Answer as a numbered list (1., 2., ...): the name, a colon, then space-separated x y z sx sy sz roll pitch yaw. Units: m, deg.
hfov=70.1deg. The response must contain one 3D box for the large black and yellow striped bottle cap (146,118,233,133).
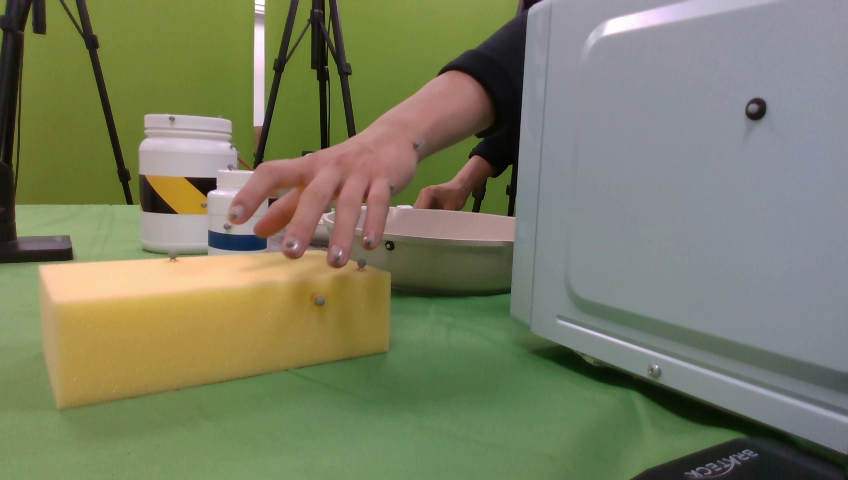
1. large black and yellow striped bottle cap: -0.333 -0.163 0.861 0.115 0.019 0.115 1 9 0

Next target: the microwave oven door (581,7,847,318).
1. microwave oven door: 0.295 -0.067 0.569 0.358 0.243 0.039 -3 8 -31

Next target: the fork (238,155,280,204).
1. fork: -0.396 -0.143 1.486 0.028 0.018 0.208 20 -26 45

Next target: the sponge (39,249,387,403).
1. sponge: -0.142 0.047 0.419 0.208 0.061 0.117 -2 8 -37

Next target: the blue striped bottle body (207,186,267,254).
1. blue striped bottle body: -0.204 -0.016 0.663 0.063 0.120 0.063 2 7 0

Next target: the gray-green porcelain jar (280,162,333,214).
1. gray-green porcelain jar: -0.238 -0.092 1.221 0.106 0.126 0.106 2 7 0

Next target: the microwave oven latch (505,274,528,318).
1. microwave oven latch: 0.100 0.041 0.471 0.079 0.029 0.030 -2 8 -29

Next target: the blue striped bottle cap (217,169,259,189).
1. blue striped bottle cap: -0.202 -0.067 0.656 0.044 0.020 0.044 0 10 0

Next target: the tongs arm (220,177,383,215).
1. tongs arm: -0.285 -0.103 1.445 0.389 0.027 0.028 9 -4 -23

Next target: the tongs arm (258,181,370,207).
1. tongs arm: -0.241 -0.095 1.373 0.387 0.026 0.050 9 -1 -37

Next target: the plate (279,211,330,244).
1. plate: -0.139 -0.022 1.021 0.209 0.038 0.209 2 8 0

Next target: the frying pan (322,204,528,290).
1. frying pan: 0.109 -0.018 0.800 0.490 0.102 0.305 -12 16 -30

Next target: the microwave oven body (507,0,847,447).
1. microwave oven body: 0.331 -0.042 0.425 0.444 0.260 0.324 -2 8 -31

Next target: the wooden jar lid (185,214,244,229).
1. wooden jar lid: -0.404 -0.037 1.169 0.108 0.020 0.108 3 7 0

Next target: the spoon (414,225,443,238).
1. spoon: 0.017 -0.019 1.114 0.041 0.021 0.194 -14 3 12

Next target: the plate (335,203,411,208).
1. plate: -0.089 -0.053 1.309 0.208 0.039 0.207 2 8 0

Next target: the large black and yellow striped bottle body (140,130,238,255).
1. large black and yellow striped bottle body: -0.336 -0.078 0.871 0.131 0.184 0.130 2 8 0
